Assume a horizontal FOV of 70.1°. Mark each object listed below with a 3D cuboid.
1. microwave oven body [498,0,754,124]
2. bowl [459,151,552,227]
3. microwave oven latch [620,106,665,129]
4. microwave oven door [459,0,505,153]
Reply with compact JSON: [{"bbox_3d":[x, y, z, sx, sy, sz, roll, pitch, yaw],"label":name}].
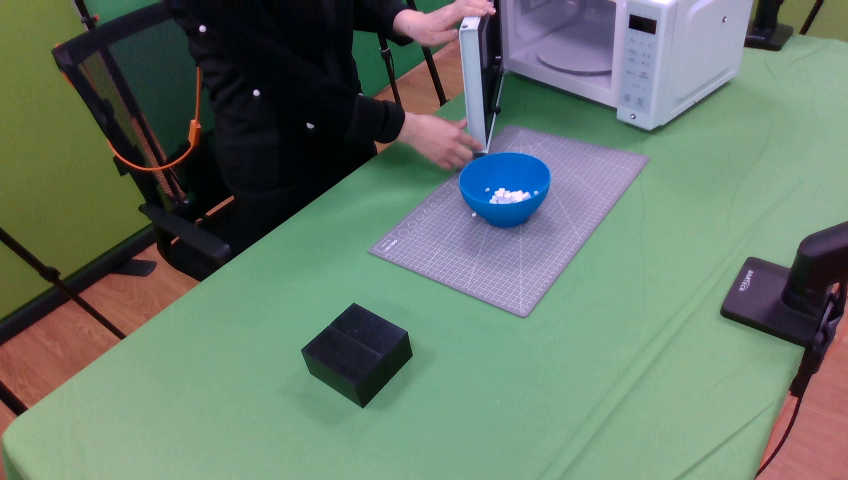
[{"bbox_3d":[0.402,-0.458,1.259,0.327,0.261,0.437,-33,45,-24],"label":"microwave oven body"},{"bbox_3d":[0.136,-0.074,1.000,0.151,0.077,0.150,-5,40,5],"label":"bowl"},{"bbox_3d":[0.412,-0.236,1.146,0.030,0.029,0.078,-32,44,-24],"label":"microwave oven latch"},{"bbox_3d":[0.122,-0.373,1.206,0.039,0.245,0.355,2,41,13],"label":"microwave oven door"}]
